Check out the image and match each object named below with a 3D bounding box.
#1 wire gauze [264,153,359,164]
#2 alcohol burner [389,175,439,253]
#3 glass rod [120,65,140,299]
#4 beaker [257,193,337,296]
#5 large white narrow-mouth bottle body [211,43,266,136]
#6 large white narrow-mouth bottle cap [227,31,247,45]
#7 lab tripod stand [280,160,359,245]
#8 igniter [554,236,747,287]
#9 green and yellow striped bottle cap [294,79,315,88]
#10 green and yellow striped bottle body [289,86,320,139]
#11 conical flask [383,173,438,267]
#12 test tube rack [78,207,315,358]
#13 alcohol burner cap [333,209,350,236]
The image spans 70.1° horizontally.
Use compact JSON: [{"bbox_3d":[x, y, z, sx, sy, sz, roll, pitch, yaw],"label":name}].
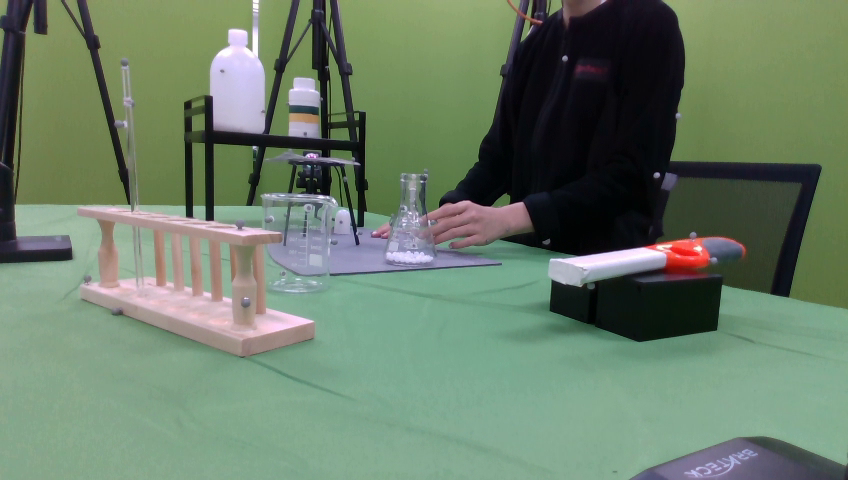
[{"bbox_3d":[-0.181,-0.129,0.969,0.126,0.011,0.121,-1,6,-27],"label":"wire gauze"},{"bbox_3d":[-0.015,-0.041,0.942,0.078,0.119,0.078,0,7,0],"label":"alcohol burner"},{"bbox_3d":[-0.249,-0.047,0.513,0.008,0.199,0.008,-1,4,0],"label":"glass rod"},{"bbox_3d":[-0.130,0.004,0.628,0.084,0.100,0.074,5,8,15],"label":"beaker"},{"bbox_3d":[-0.361,-0.302,1.176,0.102,0.194,0.102,1,7,0],"label":"large white narrow-mouth bottle body"},{"bbox_3d":[-0.361,-0.388,1.166,0.038,0.024,0.037,1,7,0],"label":"large white narrow-mouth bottle cap"},{"bbox_3d":[-0.176,-0.062,0.973,0.148,0.131,0.148,1,7,0],"label":"lab tripod stand"},{"bbox_3d":[0.221,0.017,0.558,0.278,0.025,0.057,-5,15,-39],"label":"igniter"},{"bbox_3d":[-0.248,-0.323,1.256,0.045,0.020,0.045,3,9,0],"label":"green and yellow striped bottle cap"},{"bbox_3d":[-0.250,-0.272,1.261,0.063,0.119,0.063,3,7,0],"label":"green and yellow striped bottle body"},{"bbox_3d":[-0.016,-0.028,0.808,0.075,0.122,0.075,2,8,0],"label":"conical flask"},{"bbox_3d":[-0.196,0.023,0.500,0.241,0.085,0.067,8,9,37],"label":"test tube rack"},{"bbox_3d":[-0.151,-0.033,1.116,0.034,0.048,0.034,3,7,0],"label":"alcohol burner cap"}]
